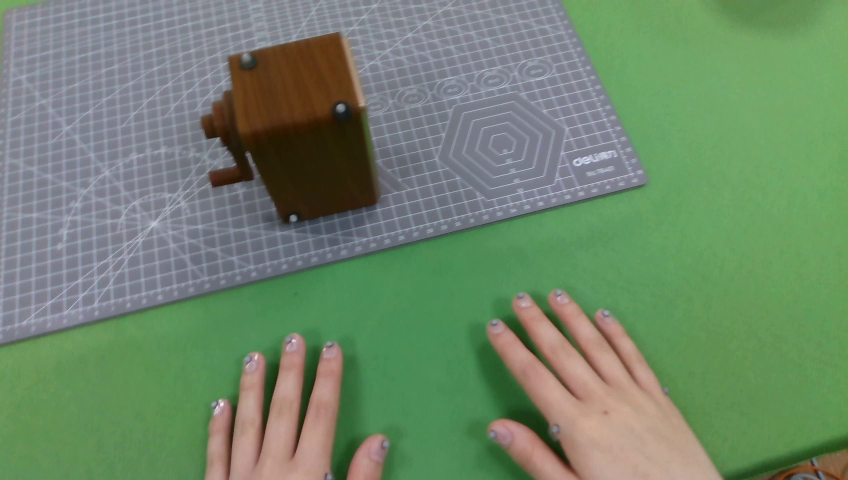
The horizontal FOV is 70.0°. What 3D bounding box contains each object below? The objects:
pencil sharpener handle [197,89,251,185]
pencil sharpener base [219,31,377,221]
[{"bbox_3d":[-0.125,-0.058,0.364,0.031,0.068,0.035,-14,58,-6],"label":"pencil sharpener handle"},{"bbox_3d":[-0.076,-0.066,0.382,0.077,0.108,0.061,-14,65,-6],"label":"pencil sharpener base"}]
